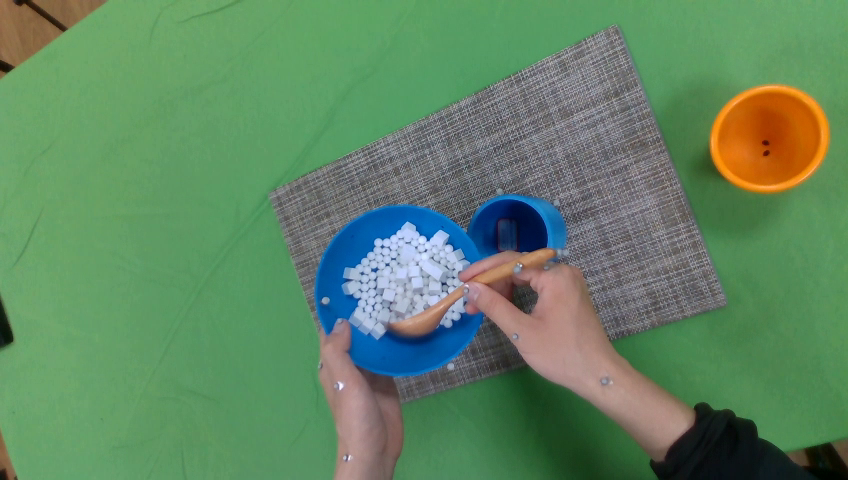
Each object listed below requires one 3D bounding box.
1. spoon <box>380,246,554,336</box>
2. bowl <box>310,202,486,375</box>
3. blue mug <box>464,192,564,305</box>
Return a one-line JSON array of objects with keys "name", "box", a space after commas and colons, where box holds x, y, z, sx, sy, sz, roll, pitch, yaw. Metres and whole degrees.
[{"name": "spoon", "box": [0.028, 0.043, 0.491, 0.194, 0.042, 0.021, -36, 50, 40]}, {"name": "bowl", "box": [-0.022, 0.048, 0.553, 0.151, 0.077, 0.150, 0, 77, -1]}, {"name": "blue mug", "box": [0.089, 0.010, 0.611, 0.082, 0.106, 0.117, 18, 100, 18]}]
